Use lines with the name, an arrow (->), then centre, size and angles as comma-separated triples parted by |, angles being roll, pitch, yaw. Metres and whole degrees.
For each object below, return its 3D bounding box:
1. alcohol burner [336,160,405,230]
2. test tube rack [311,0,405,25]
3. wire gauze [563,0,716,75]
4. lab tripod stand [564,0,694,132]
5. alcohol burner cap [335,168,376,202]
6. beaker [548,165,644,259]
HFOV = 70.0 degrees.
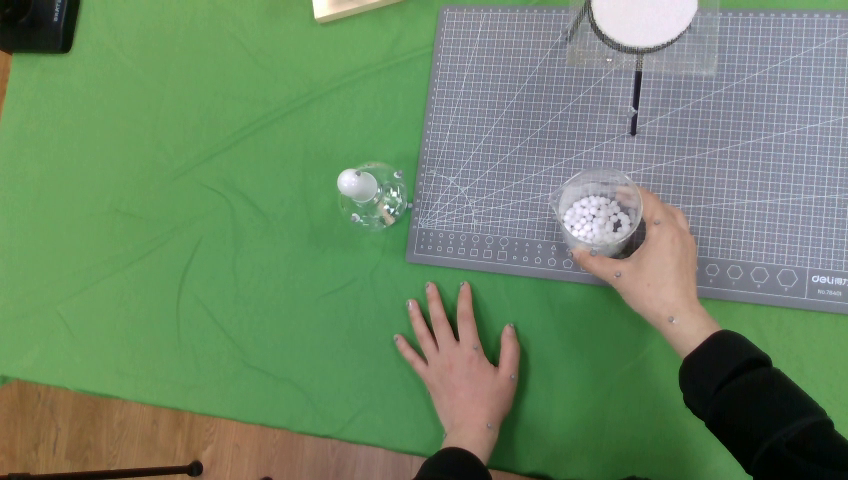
alcohol burner -> -0.062, -0.051, 0.639 | 0.078, 0.120, 0.077 | -2, 80, 12
test tube rack -> -0.029, -0.322, 0.679 | 0.242, 0.085, 0.066 | -11, 80, 12
wire gauze -> 0.185, -0.202, 0.514 | 0.124, 0.011, 0.121 | 6, 86, 15
lab tripod stand -> 0.200, -0.193, 0.579 | 0.148, 0.132, 0.148 | -1, 84, 12
alcohol burner cap -> -0.071, -0.057, 0.604 | 0.034, 0.048, 0.034 | -1, 86, 14
beaker -> 0.163, -0.022, 0.584 | 0.083, 0.101, 0.074 | 12, 82, 16
